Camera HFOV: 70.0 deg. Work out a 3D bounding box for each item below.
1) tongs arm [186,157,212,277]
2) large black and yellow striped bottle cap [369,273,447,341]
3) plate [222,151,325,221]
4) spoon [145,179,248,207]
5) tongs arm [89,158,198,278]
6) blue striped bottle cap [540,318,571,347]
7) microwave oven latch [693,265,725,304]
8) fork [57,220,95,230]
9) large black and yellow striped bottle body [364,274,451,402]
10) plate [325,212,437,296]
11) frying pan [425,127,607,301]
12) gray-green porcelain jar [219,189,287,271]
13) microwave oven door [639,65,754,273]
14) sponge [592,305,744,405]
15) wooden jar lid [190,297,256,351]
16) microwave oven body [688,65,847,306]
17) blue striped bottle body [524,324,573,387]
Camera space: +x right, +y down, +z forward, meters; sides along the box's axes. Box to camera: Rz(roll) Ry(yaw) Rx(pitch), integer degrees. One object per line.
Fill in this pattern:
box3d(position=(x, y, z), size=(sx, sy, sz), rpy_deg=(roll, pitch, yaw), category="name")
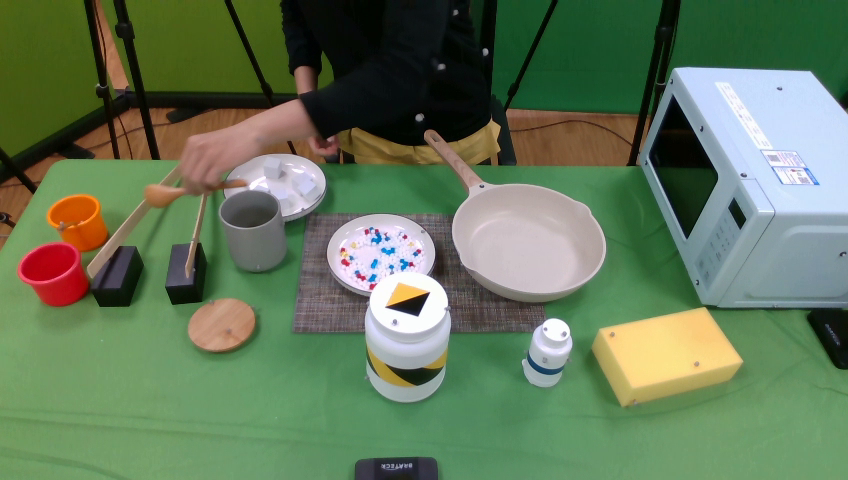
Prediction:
box3d(position=(-0.445, -0.058, 1.168), size=(0.051, 0.026, 0.382), rpy_deg=(-5, 37, -6), category="tongs arm")
box3d(position=(-0.023, 0.094, 0.875), size=(0.115, 0.019, 0.114), rpy_deg=(2, 45, -2), category="large black and yellow striped bottle cap")
box3d(position=(-0.310, -0.106, 1.263), size=(0.208, 0.039, 0.206), rpy_deg=(2, 47, -2), category="plate")
box3d(position=(-0.356, -0.080, 0.944), size=(0.193, 0.042, 0.021), rpy_deg=(-8, 22, 16), category="spoon")
box3d(position=(-0.529, -0.058, 1.164), size=(0.028, 0.028, 0.385), rpy_deg=(1, 36, 8), category="tongs arm")
box3d(position=(0.203, 0.142, 0.933), size=(0.044, 0.021, 0.044), rpy_deg=(3, 49, -3), category="blue striped bottle cap")
box3d(position=(0.523, 0.081, 1.116), size=(0.030, 0.029, 0.078), rpy_deg=(2, 46, -1), category="microwave oven latch")
box3d(position=(-0.624, -0.027, 1.086), size=(0.028, 0.207, 0.018), rpy_deg=(-2, 91, -17), category="fork")
box3d(position=(-0.026, 0.151, 0.937), size=(0.131, 0.185, 0.130), rpy_deg=(2, 47, -2), category="large black and yellow striped bottle body")
box3d(position=(-0.080, 0.030, 1.143), size=(0.209, 0.038, 0.208), rpy_deg=(3, 46, -2), category="plate")
box3d(position=(0.143, -0.069, 1.208), size=(0.307, 0.103, 0.485), rpy_deg=(-22, 60, -25), category="frying pan")
box3d(position=(-0.309, -0.014, 1.113), size=(0.106, 0.127, 0.105), rpy_deg=(2, 46, -2), category="gray-green porcelain jar")
box3d(position=(0.522, -0.147, 1.193), size=(0.039, 0.245, 0.353), rpy_deg=(0, 47, -3), category="microwave oven door")
box3d(position=(0.405, 0.190, 1.015), size=(0.207, 0.061, 0.117), rpy_deg=(-10, 48, -13), category="sponge")
box3d(position=(-0.342, 0.145, 1.033), size=(0.108, 0.021, 0.107), rpy_deg=(2, 45, -2), category="wooden jar lid")
box3d(position=(0.669, -0.111, 1.176), size=(0.326, 0.261, 0.439), rpy_deg=(0, 46, -3), category="microwave oven body")
box3d(position=(0.200, 0.178, 0.970), size=(0.063, 0.121, 0.062), rpy_deg=(2, 46, -2), category="blue striped bottle body")
